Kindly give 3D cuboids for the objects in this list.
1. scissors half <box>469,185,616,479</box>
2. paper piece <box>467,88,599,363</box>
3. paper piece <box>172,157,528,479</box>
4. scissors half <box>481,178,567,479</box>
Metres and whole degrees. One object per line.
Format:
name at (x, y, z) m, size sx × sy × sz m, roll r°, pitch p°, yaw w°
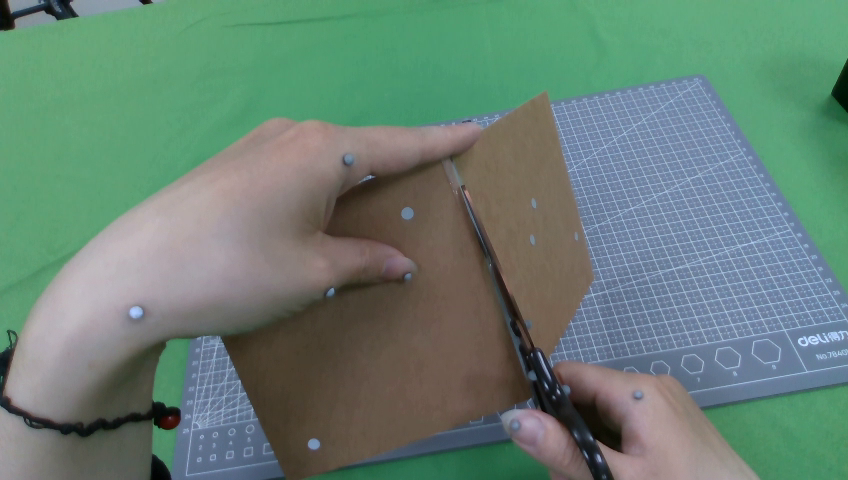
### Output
scissors half at (0.054, 0.052, 0.283) m, size 0.013 × 0.040 × 0.174 m, roll -18°, pitch 75°, yaw -13°
paper piece at (0.072, -0.008, 0.348) m, size 0.004 × 0.136 × 0.135 m, roll -5°, pitch 21°, yaw 34°
paper piece at (-0.030, 0.045, 0.298) m, size 0.138 × 0.136 × 0.008 m, roll -20°, pitch 13°, yaw -1°
scissors half at (0.050, 0.053, 0.306) m, size 0.013 × 0.176 × 0.039 m, roll -18°, pitch 18°, yaw -9°
